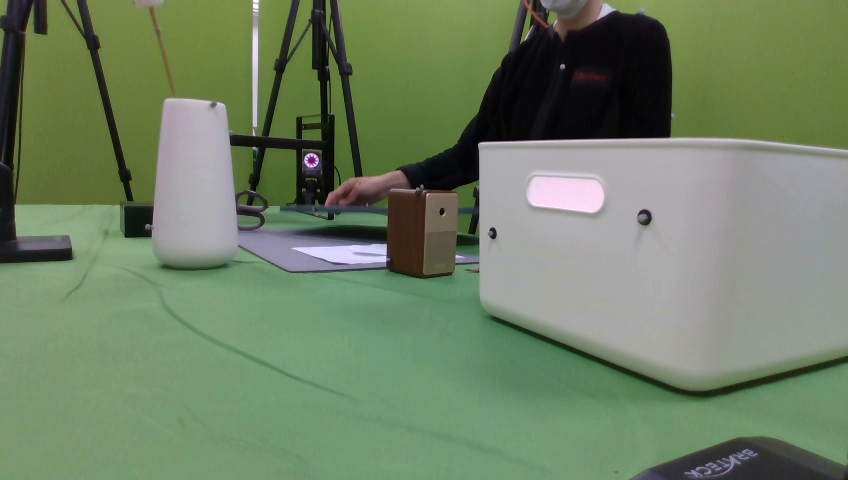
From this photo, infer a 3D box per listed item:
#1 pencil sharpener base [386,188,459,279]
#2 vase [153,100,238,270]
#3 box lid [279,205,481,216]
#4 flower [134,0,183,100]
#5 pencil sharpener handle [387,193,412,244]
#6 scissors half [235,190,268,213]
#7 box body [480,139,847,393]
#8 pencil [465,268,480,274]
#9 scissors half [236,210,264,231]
[{"bbox_3d":[-0.004,-0.011,0.761,0.062,0.107,0.076,-5,10,-44],"label":"pencil sharpener base"},{"bbox_3d":[-0.278,-0.066,0.736,0.098,0.200,0.098,2,9,0],"label":"vase"},{"bbox_3d":[-0.053,-0.054,1.124,0.370,0.015,0.264,3,4,23],"label":"box lid"},{"bbox_3d":[-0.282,-0.147,0.713,0.038,0.362,0.044,-23,24,-31],"label":"flower"},{"bbox_3d":[-0.038,-0.029,0.797,0.036,0.067,0.030,-13,15,-42],"label":"pencil sharpener handle"},{"bbox_3d":[-0.363,-0.070,1.060,0.176,0.040,0.013,0,16,-23],"label":"scissors half"},{"bbox_3d":[0.255,0.001,0.541,0.366,0.160,0.253,-2,8,-31],"label":"box body"},{"bbox_3d":[0.149,0.041,0.804,0.194,0.012,0.012,0,8,-11],"label":"pencil"},{"bbox_3d":[-0.369,-0.051,1.064,0.176,0.040,0.012,19,13,-27],"label":"scissors half"}]
